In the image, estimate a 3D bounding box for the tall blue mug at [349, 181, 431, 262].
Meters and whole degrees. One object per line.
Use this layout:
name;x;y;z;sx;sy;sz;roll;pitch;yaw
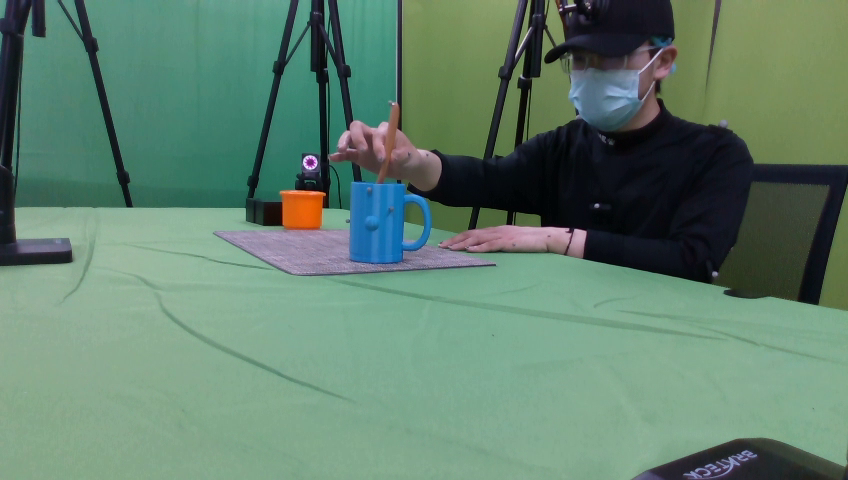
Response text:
tall blue mug;-0.051;-0.028;0.850;0.108;0.108;0.077;-1;7;-22

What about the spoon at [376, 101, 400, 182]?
spoon;-0.059;-0.099;0.849;0.042;0.193;0.021;12;8;-28
